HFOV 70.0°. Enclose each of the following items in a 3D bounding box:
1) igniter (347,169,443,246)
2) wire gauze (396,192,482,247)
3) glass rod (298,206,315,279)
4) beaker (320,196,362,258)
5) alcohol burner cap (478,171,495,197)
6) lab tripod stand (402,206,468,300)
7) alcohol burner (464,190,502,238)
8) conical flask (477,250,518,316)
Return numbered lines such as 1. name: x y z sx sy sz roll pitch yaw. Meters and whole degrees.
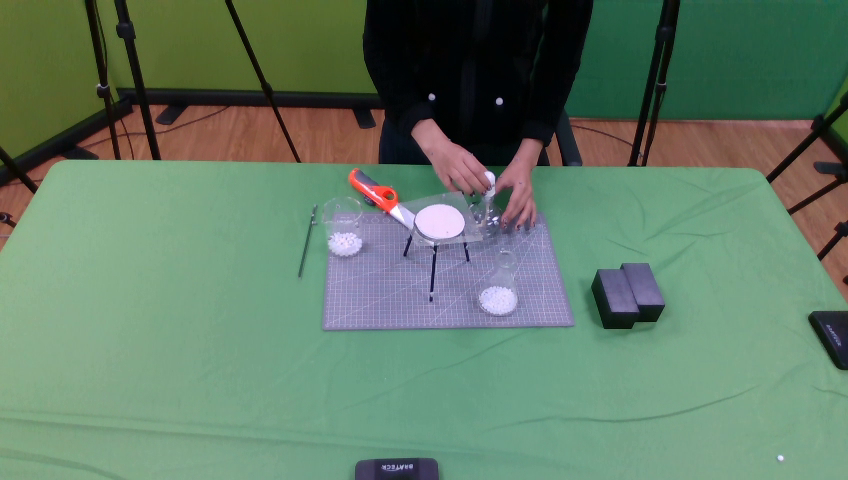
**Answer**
1. igniter: -0.068 -0.071 1.258 0.275 0.025 0.057 37 70 28
2. wire gauze: 0.025 -0.036 1.061 0.125 0.011 0.120 -9 47 -14
3. glass rod: -0.231 0.000 1.191 0.008 0.008 0.198 2 46 -2
4. beaker: -0.156 -0.021 1.150 0.084 0.101 0.073 -30 54 -28
5. alcohol burner cap: 0.120 -0.110 1.160 0.034 0.048 0.033 -1 42 1
6. lab tripod stand: 0.023 0.013 1.108 0.148 0.132 0.147 3 44 -2
7. alcohol burner: 0.120 -0.061 1.201 0.078 0.119 0.077 4 47 -4
8. conical flask: 0.136 0.072 1.067 0.075 0.122 0.075 2 46 -2
